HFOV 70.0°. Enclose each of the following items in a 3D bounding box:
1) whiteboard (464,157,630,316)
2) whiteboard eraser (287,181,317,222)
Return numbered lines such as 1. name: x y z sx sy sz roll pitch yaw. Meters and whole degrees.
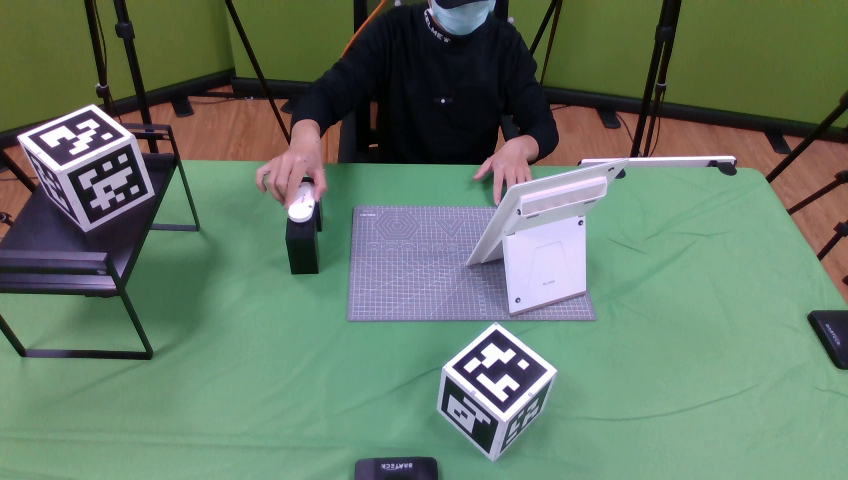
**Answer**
1. whiteboard: 0.223 0.014 1.041 0.217 0.306 0.143 -14 68 -17
2. whiteboard eraser: -0.223 -0.071 1.112 0.041 0.019 0.100 3 46 1
